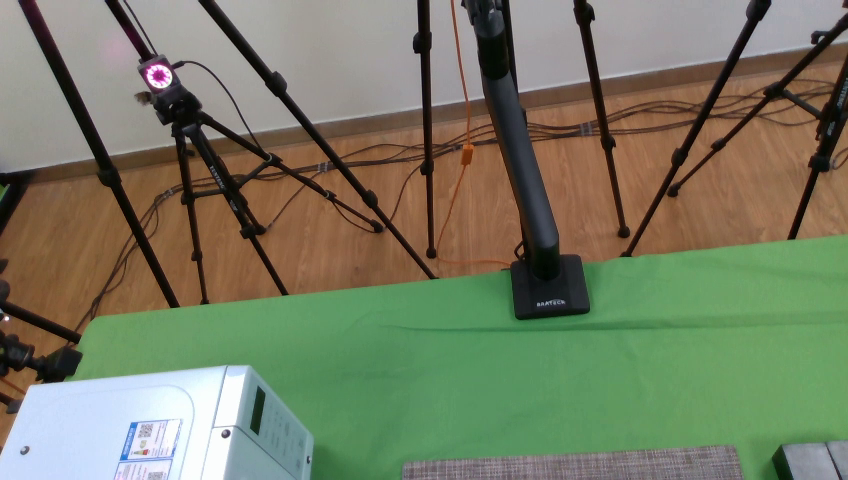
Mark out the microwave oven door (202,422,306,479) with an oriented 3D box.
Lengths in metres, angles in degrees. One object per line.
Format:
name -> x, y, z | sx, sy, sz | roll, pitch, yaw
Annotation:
microwave oven door -> -0.200, 0.413, 0.662 | 0.039, 0.246, 0.352 | -8, 51, 8

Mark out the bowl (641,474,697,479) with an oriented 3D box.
bowl -> 0.293, 0.359, 0.705 | 0.151, 0.077, 0.150 | -7, 52, 9

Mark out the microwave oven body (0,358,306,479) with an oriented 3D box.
microwave oven body -> -0.343, 0.403, 0.712 | 0.326, 0.263, 0.437 | -7, 52, 8

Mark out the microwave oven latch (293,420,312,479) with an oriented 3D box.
microwave oven latch -> -0.180, 0.303, 0.875 | 0.030, 0.030, 0.078 | -7, 52, 8
